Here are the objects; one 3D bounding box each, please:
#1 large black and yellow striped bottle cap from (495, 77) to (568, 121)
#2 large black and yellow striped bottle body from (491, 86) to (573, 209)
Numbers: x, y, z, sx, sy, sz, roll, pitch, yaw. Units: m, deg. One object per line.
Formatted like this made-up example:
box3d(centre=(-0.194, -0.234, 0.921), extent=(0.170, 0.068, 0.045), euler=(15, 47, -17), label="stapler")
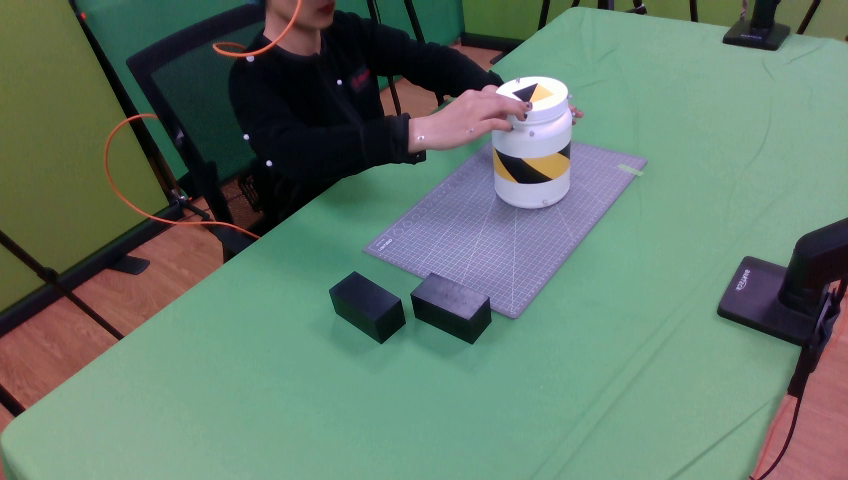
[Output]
box3d(centre=(0.169, -0.224, 0.953), extent=(0.115, 0.019, 0.114), euler=(-4, 41, 4), label="large black and yellow striped bottle cap")
box3d(centre=(0.180, -0.160, 1.006), extent=(0.131, 0.185, 0.130), euler=(-5, 40, 5), label="large black and yellow striped bottle body")
